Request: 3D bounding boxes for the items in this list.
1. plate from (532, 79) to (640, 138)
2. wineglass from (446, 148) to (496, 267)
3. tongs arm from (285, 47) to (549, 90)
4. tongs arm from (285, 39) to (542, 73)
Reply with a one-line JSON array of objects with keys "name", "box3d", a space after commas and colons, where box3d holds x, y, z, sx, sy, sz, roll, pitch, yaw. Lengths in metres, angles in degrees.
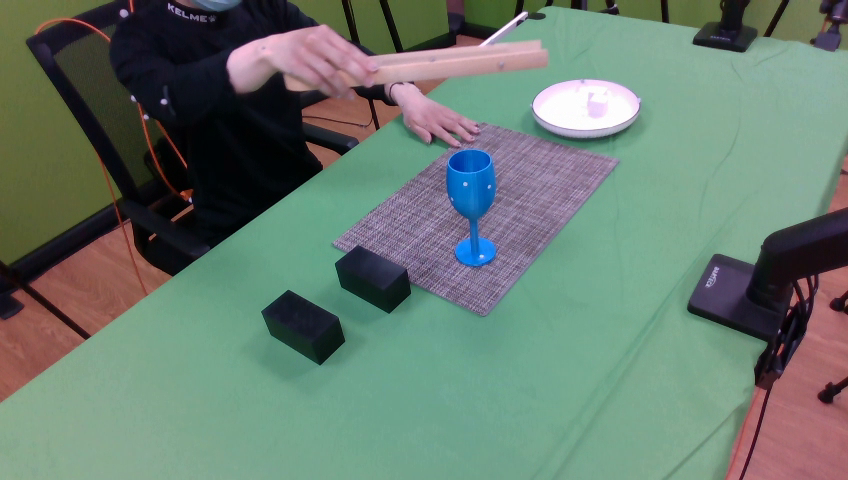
[{"name": "plate", "box3d": [0.322, -0.259, 1.212, 0.209, 0.038, 0.208, -4, 40, 4]}, {"name": "wineglass", "box3d": [0.072, -0.045, 0.889, 0.074, 0.173, 0.073, -4, 41, 4]}, {"name": "tongs arm", "box3d": [-0.012, -0.250, 0.881, 0.388, 0.028, 0.028, -5, 36, 2]}, {"name": "tongs arm", "box3d": [-0.013, -0.266, 0.908, 0.385, 0.026, 0.050, -4, 32, 3]}]
